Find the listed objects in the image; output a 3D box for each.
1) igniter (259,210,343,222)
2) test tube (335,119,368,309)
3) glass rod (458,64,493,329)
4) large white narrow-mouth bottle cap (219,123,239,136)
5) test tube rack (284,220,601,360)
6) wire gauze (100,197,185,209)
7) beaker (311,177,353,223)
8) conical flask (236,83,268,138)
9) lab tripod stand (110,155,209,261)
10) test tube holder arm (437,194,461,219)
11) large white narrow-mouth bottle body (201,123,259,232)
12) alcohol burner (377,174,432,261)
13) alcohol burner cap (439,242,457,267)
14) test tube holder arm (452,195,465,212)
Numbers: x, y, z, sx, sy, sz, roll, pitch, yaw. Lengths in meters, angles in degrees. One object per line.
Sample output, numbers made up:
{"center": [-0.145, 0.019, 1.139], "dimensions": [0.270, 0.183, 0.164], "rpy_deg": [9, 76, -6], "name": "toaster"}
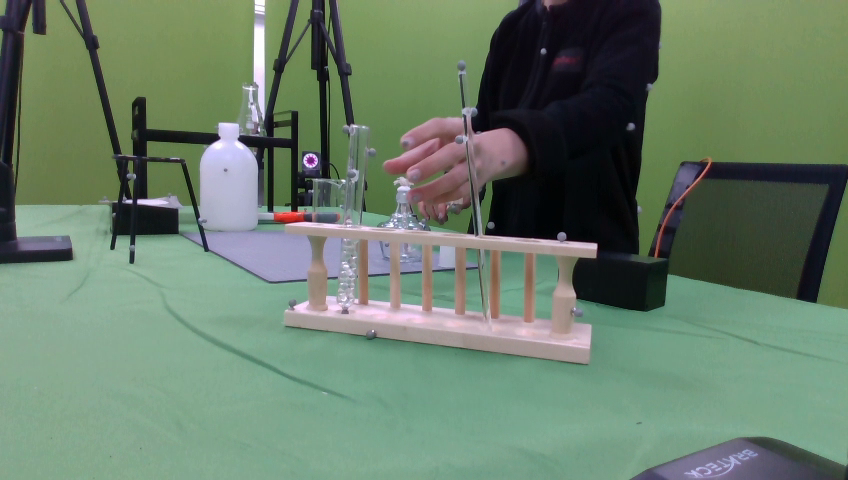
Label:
{"center": [-0.303, -0.049, 1.258], "dimensions": [0.278, 0.025, 0.057], "rpy_deg": [-2, -2, -28], "name": "igniter"}
{"center": [-0.057, -0.019, 0.477], "dimensions": [0.017, 0.150, 0.017], "rpy_deg": [5, 10, -1], "name": "test tube"}
{"center": [0.039, -0.029, 0.449], "dimensions": [0.008, 0.199, 0.008], "rpy_deg": [-7, 9, 1], "name": "glass rod"}
{"center": [-0.356, -0.201, 1.104], "dimensions": [0.038, 0.024, 0.037], "rpy_deg": [2, 8, 0], "name": "large white narrow-mouth bottle cap"}
{"center": [0.013, 0.032, 0.482], "dimensions": [0.242, 0.085, 0.067], "rpy_deg": [4, 7, 16], "name": "test tube rack"}
{"center": [-0.469, -0.062, 1.008], "dimensions": [0.126, 0.011, 0.121], "rpy_deg": [-2, 8, -25], "name": "wire gauze"}
{"center": [-0.167, -0.064, 1.106], "dimensions": [0.074, 0.100, 0.083], "rpy_deg": [-2, 9, -27], "name": "beaker"}
{"center": [-0.399, -0.298, 1.396], "dimensions": [0.075, 0.122, 0.075], "rpy_deg": [2, 8, 0], "name": "conical flask"}
{"center": [-0.361, -0.046, 0.806], "dimensions": [0.148, 0.131, 0.148], "rpy_deg": [2, 5, 0], "name": "lab tripod stand"}
{"center": [0.041, -0.056, 1.036], "dimensions": [0.013, 0.015, 0.178], "rpy_deg": [13, -9, -8], "name": "test tube holder arm"}
{"center": [-0.358, -0.116, 1.116], "dimensions": [0.102, 0.194, 0.102], "rpy_deg": [2, 8, 0], "name": "large white narrow-mouth bottle body"}
{"center": [-0.027, -0.031, 0.838], "dimensions": [0.078, 0.119, 0.078], "rpy_deg": [0, 6, 0], "name": "alcohol burner"}
{"center": [0.037, 0.010, 0.808], "dimensions": [0.034, 0.048, 0.034], "rpy_deg": [3, 13, 0], "name": "alcohol burner cap"}
{"center": [0.053, -0.060, 0.993], "dimensions": [0.010, 0.015, 0.087], "rpy_deg": [13, -9, -8], "name": "test tube holder arm"}
